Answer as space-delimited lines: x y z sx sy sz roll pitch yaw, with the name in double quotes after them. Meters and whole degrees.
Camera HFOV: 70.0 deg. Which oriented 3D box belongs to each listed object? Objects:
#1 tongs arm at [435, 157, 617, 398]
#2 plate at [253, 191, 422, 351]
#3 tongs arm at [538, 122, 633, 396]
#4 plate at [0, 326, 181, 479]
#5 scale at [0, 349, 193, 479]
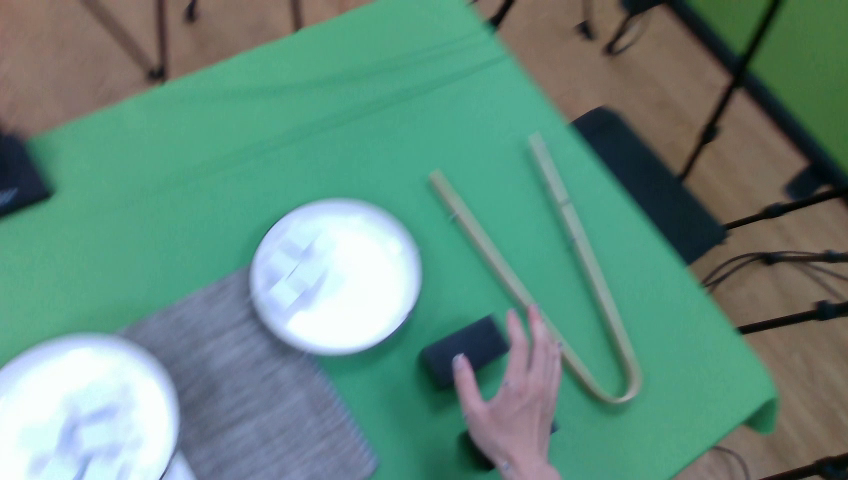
0.123 0.045 0.797 0.028 0.028 0.385 -29 77 -20 "tongs arm"
-0.106 0.039 0.762 0.208 0.039 0.206 3 69 -7 "plate"
0.203 0.015 0.816 0.051 0.026 0.382 -14 74 -13 "tongs arm"
-0.361 0.194 0.631 0.209 0.038 0.207 3 69 -7 "plate"
-0.354 0.232 0.653 0.149 0.032 0.200 -28 76 -17 "scale"
